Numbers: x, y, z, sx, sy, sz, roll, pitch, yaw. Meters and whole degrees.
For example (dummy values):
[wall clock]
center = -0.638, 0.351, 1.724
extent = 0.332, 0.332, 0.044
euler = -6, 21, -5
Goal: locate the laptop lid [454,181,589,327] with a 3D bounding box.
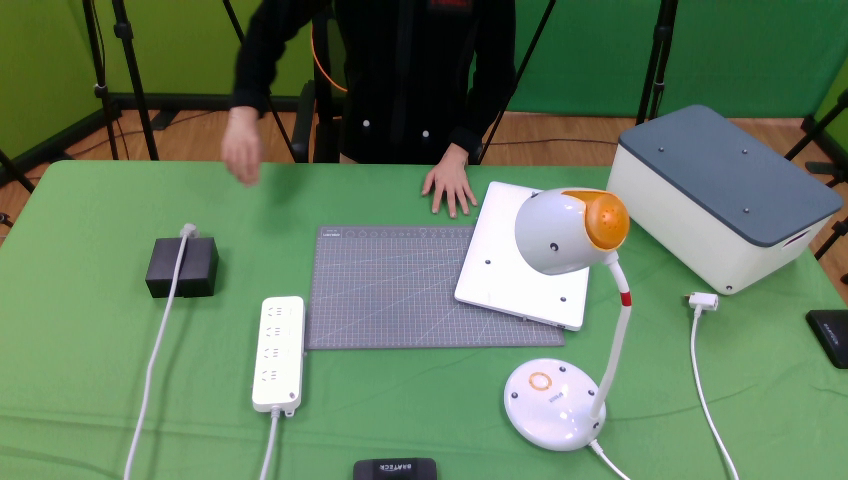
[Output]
[laptop lid]
center = 0.210, 0.010, 1.193
extent = 0.241, 0.013, 0.355
euler = 13, 46, 11

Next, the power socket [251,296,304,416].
[power socket]
center = -0.238, 0.181, 0.997
extent = 0.072, 0.033, 0.225
euler = -3, 47, -5

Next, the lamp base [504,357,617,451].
[lamp base]
center = 0.220, 0.211, 0.903
extent = 0.160, 0.181, 0.178
euler = -33, 59, -30

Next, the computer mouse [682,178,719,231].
[computer mouse]
center = 0.596, -0.078, 1.290
extent = 0.117, 0.041, 0.062
euler = 56, 44, -8

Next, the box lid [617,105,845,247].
[box lid]
center = 0.586, -0.138, 1.176
extent = 0.263, 0.015, 0.369
euler = -22, 51, -23

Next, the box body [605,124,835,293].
[box body]
center = 0.582, -0.089, 1.230
extent = 0.254, 0.161, 0.361
euler = -22, 52, -23

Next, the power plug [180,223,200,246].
[power plug]
center = -0.450, -0.004, 1.137
extent = 0.035, 0.053, 0.072
euler = 24, 32, 1

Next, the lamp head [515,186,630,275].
[lamp head]
center = 0.188, -0.013, 0.728
extent = 0.112, 0.112, 0.122
euler = -25, 9, -25

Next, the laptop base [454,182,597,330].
[laptop base]
center = 0.211, 0.018, 1.202
extent = 0.235, 0.023, 0.352
euler = 11, 46, 11

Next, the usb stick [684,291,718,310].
[usb stick]
center = 0.509, 0.111, 1.121
extent = 0.059, 0.021, 0.027
euler = 6, 54, 46
